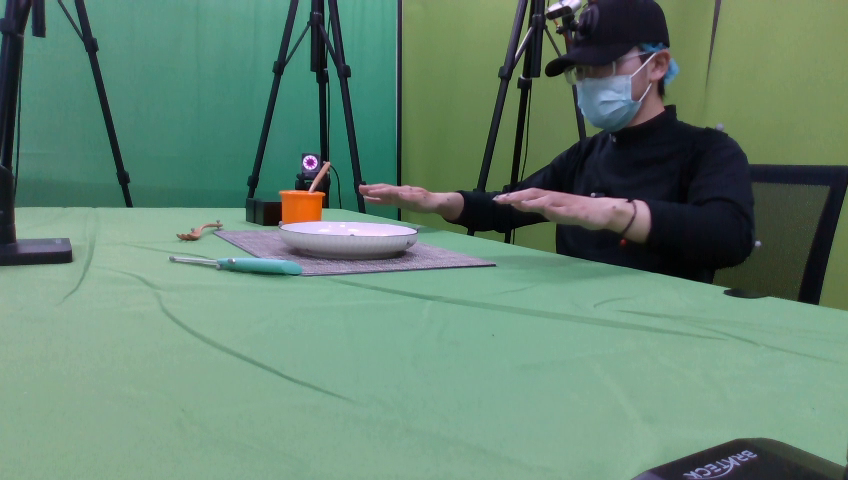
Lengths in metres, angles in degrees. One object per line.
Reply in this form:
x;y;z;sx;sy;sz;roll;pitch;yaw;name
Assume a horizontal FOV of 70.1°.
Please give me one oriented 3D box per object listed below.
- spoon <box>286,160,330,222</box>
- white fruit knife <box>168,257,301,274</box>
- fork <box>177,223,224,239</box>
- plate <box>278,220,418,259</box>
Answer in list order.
-0.233;-0.101;1.252;0.041;0.193;0.022;2;-38;24;spoon
-0.243;0.029;0.749;0.206;0.016;0.027;2;-17;26;white fruit knife
-0.386;-0.019;1.062;0.028;0.018;0.207;-4;9;-1;fork
-0.114;-0.002;0.914;0.209;0.038;0.209;2;7;0;plate
